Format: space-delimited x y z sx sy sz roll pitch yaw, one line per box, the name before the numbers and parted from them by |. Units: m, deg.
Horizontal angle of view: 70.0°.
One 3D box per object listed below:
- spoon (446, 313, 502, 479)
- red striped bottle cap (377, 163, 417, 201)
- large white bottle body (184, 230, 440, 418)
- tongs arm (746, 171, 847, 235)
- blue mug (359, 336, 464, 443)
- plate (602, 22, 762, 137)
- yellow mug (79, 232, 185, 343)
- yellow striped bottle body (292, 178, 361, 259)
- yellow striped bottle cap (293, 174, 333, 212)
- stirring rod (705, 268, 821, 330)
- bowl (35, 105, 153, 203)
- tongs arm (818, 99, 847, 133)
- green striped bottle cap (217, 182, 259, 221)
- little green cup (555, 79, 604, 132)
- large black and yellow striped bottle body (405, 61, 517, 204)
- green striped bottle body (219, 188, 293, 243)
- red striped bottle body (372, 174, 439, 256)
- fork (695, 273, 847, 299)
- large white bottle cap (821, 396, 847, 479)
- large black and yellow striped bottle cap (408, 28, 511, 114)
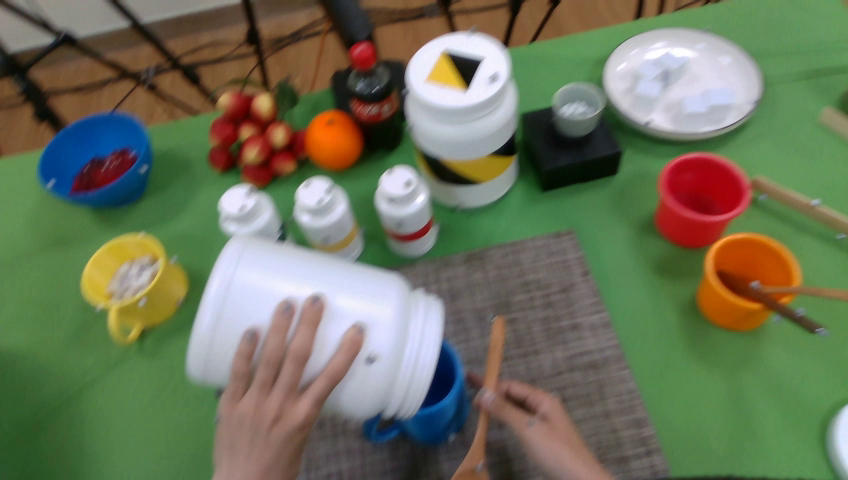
spoon | 0.050 0.160 0.544 0.041 0.022 0.193 12 78 2
red striped bottle cap | -0.030 -0.066 0.680 0.044 0.018 0.044 -1 56 2
large white bottle body | -0.089 0.076 0.513 0.185 0.131 0.129 16 59 -10
tongs arm | 0.556 0.009 0.675 0.381 0.027 0.050 36 65 24
blue mug | -0.016 0.159 0.605 0.116 0.107 0.081 -37 60 -16
plate | 0.351 -0.219 0.840 0.209 0.038 0.207 -3 59 5
yellow mug | -0.356 0.061 0.735 0.100 0.064 0.129 -4 59 4
yellow striped bottle body | -0.118 -0.027 0.729 0.063 0.121 0.062 -3 58 6
yellow striped bottle cap | -0.125 -0.053 0.684 0.044 0.019 0.044 -1 53 1
stirring rod | 0.336 0.056 0.614 0.014 0.006 0.175 -10 15 -2
bowl | -0.439 -0.105 0.840 0.151 0.077 0.150 -3 58 5
tongs arm | 0.623 -0.044 0.704 0.028 0.028 0.383 -27 59 -18
green striped bottle cap | -0.212 -0.044 0.689 0.044 0.020 0.044 -2 57 4
little green cup | 0.194 -0.168 0.767 0.061 0.039 0.061 -2 56 3
large black and yellow striped bottle body | 0.048 -0.145 0.744 0.130 0.185 0.129 -3 58 5
green striped bottle body | -0.205 -0.017 0.733 0.063 0.120 0.062 -3 58 5
red striped bottle body | -0.023 -0.037 0.725 0.063 0.121 0.062 -6 55 10
fork | 0.366 0.050 0.606 0.028 0.019 0.206 -46 20 -20
large white bottle cap | 0.447 0.201 0.581 0.115 0.018 0.114 -3 58 5
large black and yellow striped bottle cap | 0.039 -0.189 0.671 0.115 0.019 0.114 -4 60 8
